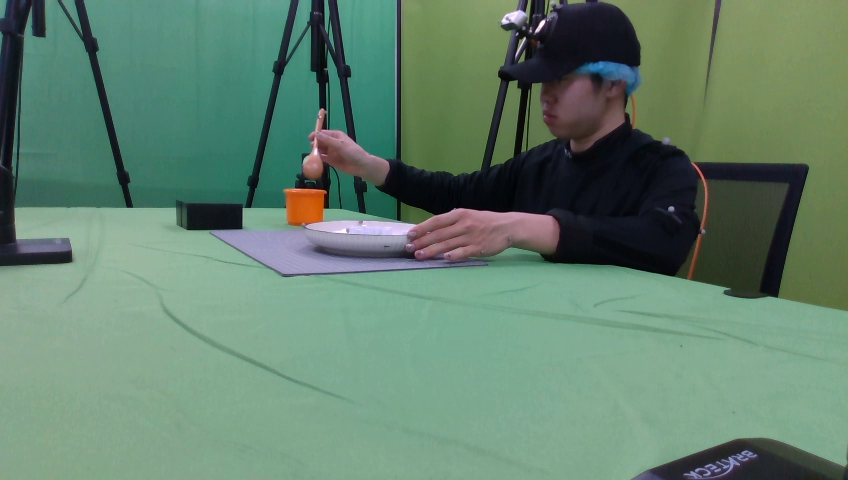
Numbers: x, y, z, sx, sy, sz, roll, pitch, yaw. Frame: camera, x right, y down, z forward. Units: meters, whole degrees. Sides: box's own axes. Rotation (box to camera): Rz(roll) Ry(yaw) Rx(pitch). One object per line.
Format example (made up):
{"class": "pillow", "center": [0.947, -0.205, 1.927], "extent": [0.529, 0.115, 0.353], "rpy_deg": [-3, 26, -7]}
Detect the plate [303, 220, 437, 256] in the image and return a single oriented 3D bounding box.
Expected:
{"class": "plate", "center": [-0.084, -0.003, 0.951], "extent": [0.209, 0.038, 0.209], "rpy_deg": [3, 7, 0]}

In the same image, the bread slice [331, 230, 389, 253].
{"class": "bread slice", "center": [-0.088, 0.000, 0.947], "extent": [0.105, 0.019, 0.131], "rpy_deg": [-4, 11, -44]}

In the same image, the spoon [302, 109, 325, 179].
{"class": "spoon", "center": [-0.227, -0.206, 1.271], "extent": [0.042, 0.193, 0.021], "rpy_deg": [19, -41, -24]}
